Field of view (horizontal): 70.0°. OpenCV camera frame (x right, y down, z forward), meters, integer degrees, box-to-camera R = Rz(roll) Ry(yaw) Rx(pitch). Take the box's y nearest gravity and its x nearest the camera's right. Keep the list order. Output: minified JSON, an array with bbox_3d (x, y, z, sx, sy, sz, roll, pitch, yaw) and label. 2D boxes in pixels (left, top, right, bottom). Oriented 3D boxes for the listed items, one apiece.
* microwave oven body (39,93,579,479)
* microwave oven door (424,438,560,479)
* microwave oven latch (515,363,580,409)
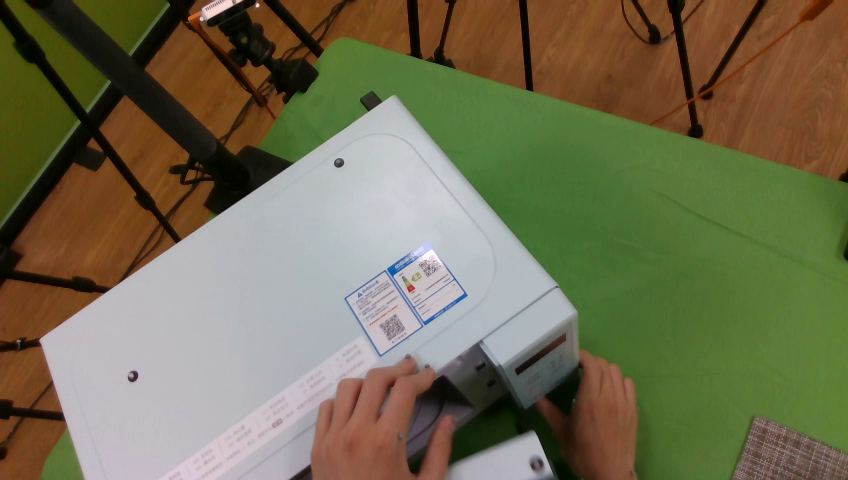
[{"bbox_3d":[-0.106,0.117,0.661,0.441,0.262,0.323,-36,63,-2],"label":"microwave oven body"},{"bbox_3d":[-0.046,0.273,0.569,0.356,0.246,0.039,-23,62,3],"label":"microwave oven door"},{"bbox_3d":[0.140,0.158,0.689,0.079,0.030,0.030,-34,63,-2],"label":"microwave oven latch"}]
